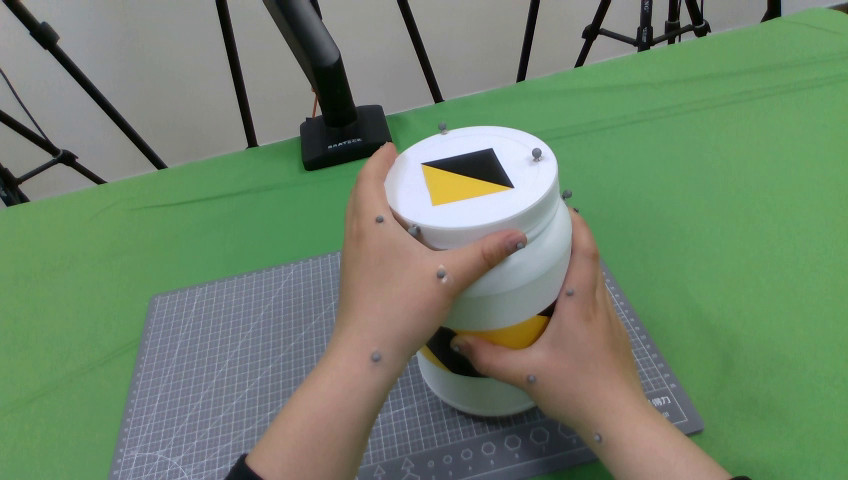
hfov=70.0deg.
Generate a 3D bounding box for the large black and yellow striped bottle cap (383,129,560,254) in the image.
[{"bbox_3d":[0.030,-0.035,0.394,0.115,0.019,0.114,-8,40,7],"label":"large black and yellow striped bottle cap"}]

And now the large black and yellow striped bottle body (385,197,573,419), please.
[{"bbox_3d":[0.044,0.030,0.450,0.130,0.186,0.129,-7,40,6],"label":"large black and yellow striped bottle body"}]
